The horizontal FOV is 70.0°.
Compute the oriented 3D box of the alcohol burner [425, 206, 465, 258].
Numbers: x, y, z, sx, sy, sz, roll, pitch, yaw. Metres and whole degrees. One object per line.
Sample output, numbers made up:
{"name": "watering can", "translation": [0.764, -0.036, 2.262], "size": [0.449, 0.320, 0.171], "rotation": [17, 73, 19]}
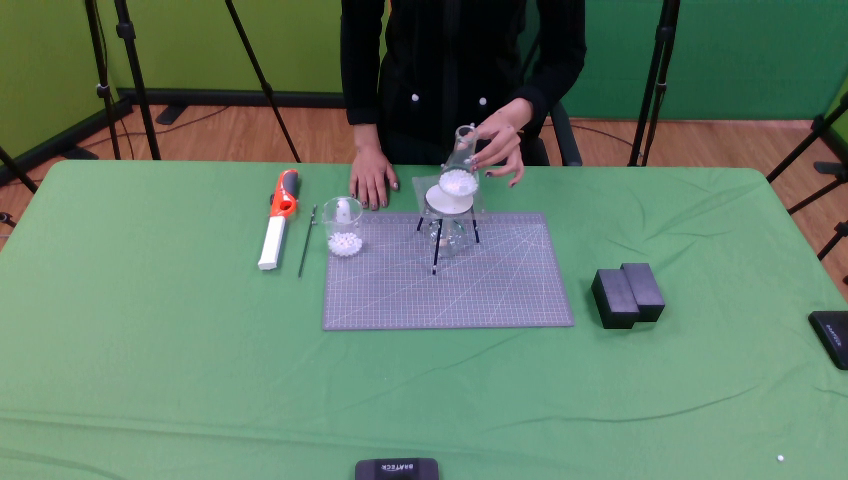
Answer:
{"name": "alcohol burner", "translation": [0.041, -0.023, 1.158], "size": [0.078, 0.119, 0.077], "rotation": [3, 47, -3]}

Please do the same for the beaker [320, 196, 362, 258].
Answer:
{"name": "beaker", "translation": [-0.156, -0.020, 1.150], "size": [0.084, 0.101, 0.073], "rotation": [-30, 55, -28]}

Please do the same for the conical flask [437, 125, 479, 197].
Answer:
{"name": "conical flask", "translation": [0.064, -0.136, 1.027], "size": [0.075, 0.122, 0.075], "rotation": [3, 50, -4]}

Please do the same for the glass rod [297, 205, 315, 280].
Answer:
{"name": "glass rod", "translation": [-0.231, 0.001, 1.192], "size": [0.008, 0.008, 0.198], "rotation": [2, 47, -1]}

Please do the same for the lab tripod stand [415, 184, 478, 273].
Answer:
{"name": "lab tripod stand", "translation": [0.042, -0.031, 1.152], "size": [0.148, 0.132, 0.147], "rotation": [3, 44, -3]}

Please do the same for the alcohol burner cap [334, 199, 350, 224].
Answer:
{"name": "alcohol burner cap", "translation": [-0.168, -0.061, 1.228], "size": [0.034, 0.048, 0.033], "rotation": [3, 46, -3]}

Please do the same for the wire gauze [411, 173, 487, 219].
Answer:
{"name": "wire gauze", "translation": [0.044, -0.080, 1.106], "size": [0.125, 0.011, 0.120], "rotation": [-3, 46, -7]}

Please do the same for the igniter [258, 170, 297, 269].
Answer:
{"name": "igniter", "translation": [-0.294, -0.049, 1.221], "size": [0.057, 0.025, 0.275], "rotation": [-5, 45, 4]}
